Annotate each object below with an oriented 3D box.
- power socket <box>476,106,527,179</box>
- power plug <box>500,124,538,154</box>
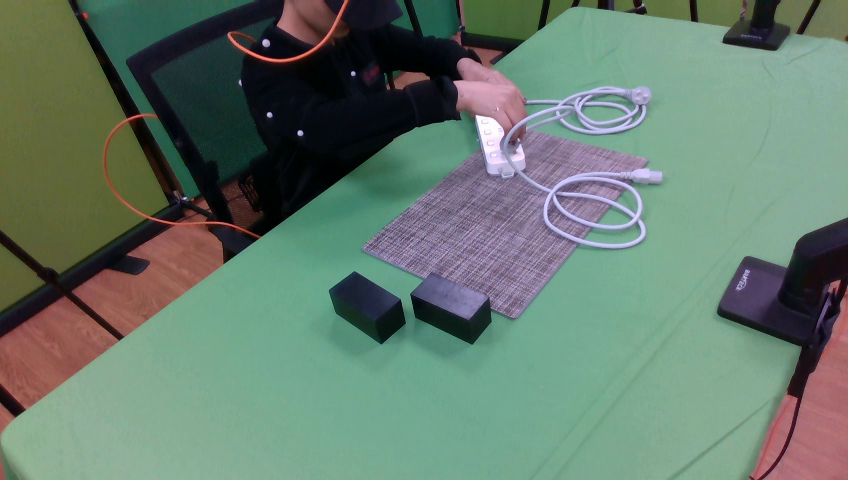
[{"bbox_3d":[0.147,-0.196,1.173,0.072,0.033,0.225,-7,40,2],"label":"power socket"},{"bbox_3d":[0.173,-0.176,1.094,0.072,0.053,0.035,-6,43,15],"label":"power plug"}]
